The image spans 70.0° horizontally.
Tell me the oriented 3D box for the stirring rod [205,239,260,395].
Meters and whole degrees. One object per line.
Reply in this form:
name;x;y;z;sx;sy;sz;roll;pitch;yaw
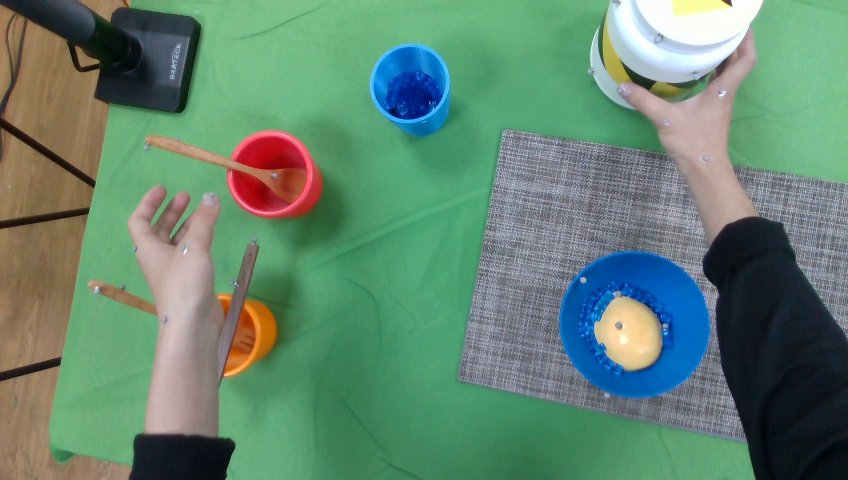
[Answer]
stirring rod;-0.209;0.084;0.661;0.014;0.006;0.176;15;88;4

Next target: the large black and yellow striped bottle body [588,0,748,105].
large black and yellow striped bottle body;0.248;-0.225;0.620;0.130;0.184;0.130;0;87;5

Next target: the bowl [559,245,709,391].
bowl;0.218;0.082;0.657;0.151;0.077;0.151;0;87;6

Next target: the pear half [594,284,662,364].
pear half;0.220;0.089;0.651;0.070;0.031;0.087;-16;82;1

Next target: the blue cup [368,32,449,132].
blue cup;-0.011;-0.164;0.682;0.092;0.100;0.092;0;85;6

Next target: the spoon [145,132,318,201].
spoon;-0.208;-0.085;0.676;0.195;0.021;0.041;18;91;-38

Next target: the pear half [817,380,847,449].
pear half;0.444;0.183;0.616;0.056;0.110;0.076;-9;82;6

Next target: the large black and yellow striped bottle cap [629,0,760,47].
large black and yellow striped bottle cap;0.241;-0.230;0.537;0.115;0.019;0.115;0;88;6

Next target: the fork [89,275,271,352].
fork;-0.262;0.082;0.668;0.209;0.018;0.028;30;101;-37
